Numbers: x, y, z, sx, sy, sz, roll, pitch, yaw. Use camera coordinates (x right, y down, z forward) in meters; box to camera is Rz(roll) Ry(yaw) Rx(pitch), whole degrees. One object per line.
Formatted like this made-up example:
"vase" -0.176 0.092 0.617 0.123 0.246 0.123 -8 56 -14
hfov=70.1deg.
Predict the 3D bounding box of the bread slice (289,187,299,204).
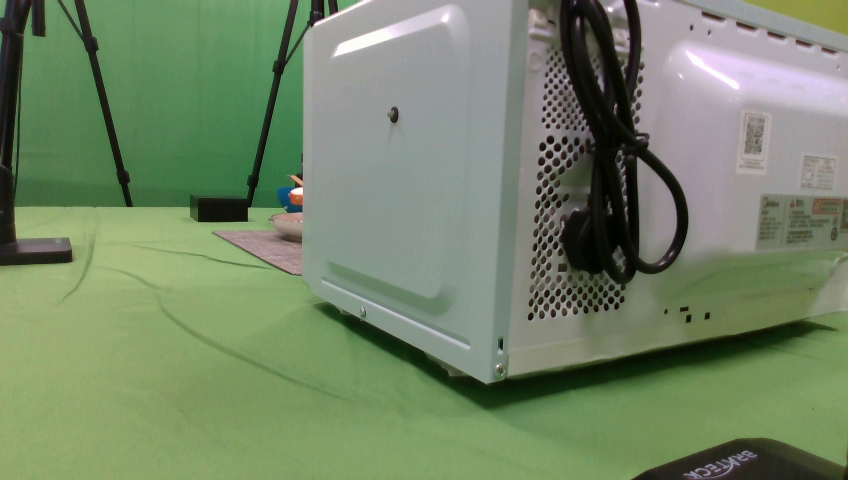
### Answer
"bread slice" -0.167 -0.080 1.052 0.131 0.019 0.105 0 13 0

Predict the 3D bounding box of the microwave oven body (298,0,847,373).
"microwave oven body" 0.151 -0.055 0.542 0.444 0.260 0.324 -1 7 -33

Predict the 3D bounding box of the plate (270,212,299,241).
"plate" -0.162 -0.022 1.058 0.208 0.039 0.207 2 7 0

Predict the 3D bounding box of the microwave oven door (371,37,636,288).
"microwave oven door" 0.109 -0.080 0.686 0.358 0.243 0.039 -2 9 -33

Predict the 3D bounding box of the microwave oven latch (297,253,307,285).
"microwave oven latch" -0.082 0.027 0.582 0.079 0.029 0.030 -1 7 -33

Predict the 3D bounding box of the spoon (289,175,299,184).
"spoon" -0.260 -0.110 1.343 0.042 0.021 0.192 -8 33 -30

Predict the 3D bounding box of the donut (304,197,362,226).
"donut" -0.159 -0.050 1.055 0.099 0.048 0.099 3 7 0

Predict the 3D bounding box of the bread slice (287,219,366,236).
"bread slice" -0.170 -0.023 1.056 0.134 0.018 0.107 1 7 -6

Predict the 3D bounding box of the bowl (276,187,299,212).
"bowl" -0.241 -0.073 1.302 0.151 0.077 0.151 2 7 0
